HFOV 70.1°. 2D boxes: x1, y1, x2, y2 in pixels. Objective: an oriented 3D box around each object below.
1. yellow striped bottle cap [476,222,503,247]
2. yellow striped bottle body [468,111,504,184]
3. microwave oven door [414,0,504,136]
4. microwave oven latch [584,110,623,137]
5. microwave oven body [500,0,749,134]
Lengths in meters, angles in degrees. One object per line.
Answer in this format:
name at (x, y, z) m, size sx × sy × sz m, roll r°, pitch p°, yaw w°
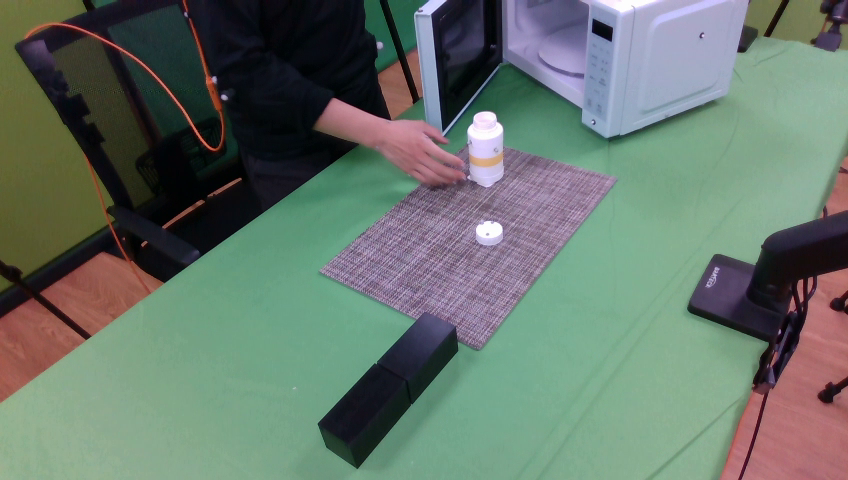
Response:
yellow striped bottle cap at (0.105, -0.010, 0.966) m, size 0.044 × 0.019 × 0.044 m, roll -2°, pitch 39°, yaw 3°
yellow striped bottle body at (0.109, -0.164, 1.064) m, size 0.063 × 0.121 × 0.062 m, roll -4°, pitch 41°, yaw 4°
microwave oven door at (0.084, -0.408, 1.238) m, size 0.039 × 0.245 × 0.356 m, roll 13°, pitch 45°, yaw 23°
microwave oven latch at (0.337, -0.222, 1.142) m, size 0.030 × 0.029 × 0.078 m, roll -21°, pitch 42°, yaw -14°
microwave oven body at (0.381, -0.444, 1.246) m, size 0.327 × 0.261 × 0.437 m, roll -22°, pitch 42°, yaw -16°
